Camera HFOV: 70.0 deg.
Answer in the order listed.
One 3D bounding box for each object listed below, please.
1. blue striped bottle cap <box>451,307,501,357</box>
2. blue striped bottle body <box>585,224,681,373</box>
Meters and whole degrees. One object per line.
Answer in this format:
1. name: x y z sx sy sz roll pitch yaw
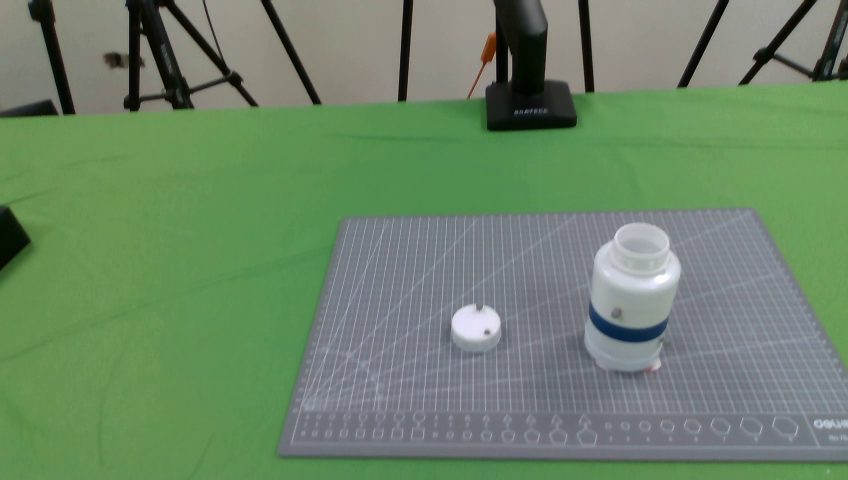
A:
1. blue striped bottle cap: 0.046 0.081 0.537 0.044 0.021 0.044 -2 39 2
2. blue striped bottle body: 0.165 0.045 0.481 0.063 0.122 0.062 -3 40 3
